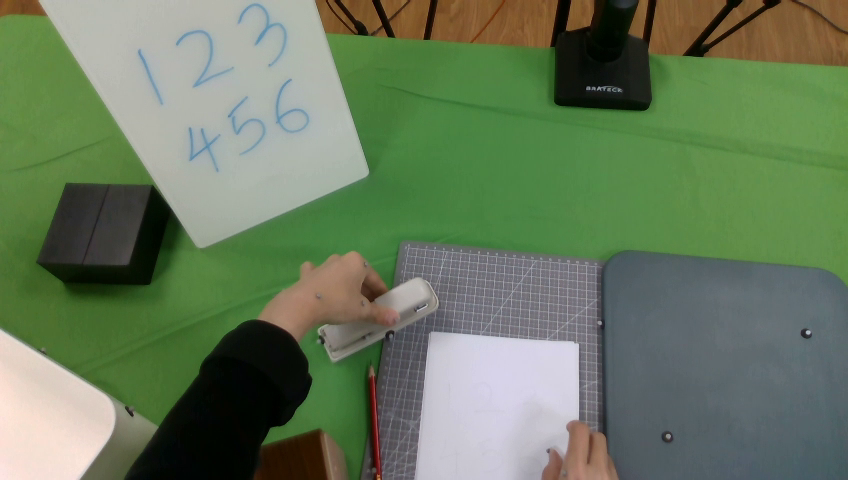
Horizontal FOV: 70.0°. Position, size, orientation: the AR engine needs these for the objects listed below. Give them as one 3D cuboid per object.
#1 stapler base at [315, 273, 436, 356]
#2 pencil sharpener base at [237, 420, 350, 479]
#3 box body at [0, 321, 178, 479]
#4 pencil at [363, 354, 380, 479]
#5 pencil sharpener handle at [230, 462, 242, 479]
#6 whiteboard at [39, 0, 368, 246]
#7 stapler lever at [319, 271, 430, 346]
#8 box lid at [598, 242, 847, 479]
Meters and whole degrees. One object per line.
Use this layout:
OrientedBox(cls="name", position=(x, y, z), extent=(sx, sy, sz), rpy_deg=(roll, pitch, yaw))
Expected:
OrientedBox(cls="stapler base", position=(-0.049, 0.074, 0.635), extent=(0.130, 0.024, 0.041), rpy_deg=(-26, 75, -10))
OrientedBox(cls="pencil sharpener base", position=(-0.111, 0.205, 0.530), extent=(0.077, 0.108, 0.061), rpy_deg=(-15, 64, -5))
OrientedBox(cls="box body", position=(-0.436, 0.183, 0.516), extent=(0.362, 0.161, 0.253), rpy_deg=(25, 67, 13))
OrientedBox(cls="pencil", position=(-0.048, 0.203, 0.582), extent=(0.012, 0.012, 0.192), rpy_deg=(-8, 63, -2))
OrientedBox(cls="pencil sharpener handle", position=(-0.160, 0.216, 0.511), extent=(0.031, 0.068, 0.035), rpy_deg=(-15, 48, -5))
OrientedBox(cls="whiteboard", position=(-0.218, -0.184, 0.650), extent=(0.217, 0.308, 0.142), rpy_deg=(-25, 46, -10))
OrientedBox(cls="stapler lever", position=(-0.049, 0.068, 0.611), extent=(0.118, 0.040, 0.026), rpy_deg=(-26, 75, -10))
OrientedBox(cls="box lid", position=(0.304, 0.174, 0.590), extent=(0.263, 0.015, 0.368), rpy_deg=(6, 64, 3))
